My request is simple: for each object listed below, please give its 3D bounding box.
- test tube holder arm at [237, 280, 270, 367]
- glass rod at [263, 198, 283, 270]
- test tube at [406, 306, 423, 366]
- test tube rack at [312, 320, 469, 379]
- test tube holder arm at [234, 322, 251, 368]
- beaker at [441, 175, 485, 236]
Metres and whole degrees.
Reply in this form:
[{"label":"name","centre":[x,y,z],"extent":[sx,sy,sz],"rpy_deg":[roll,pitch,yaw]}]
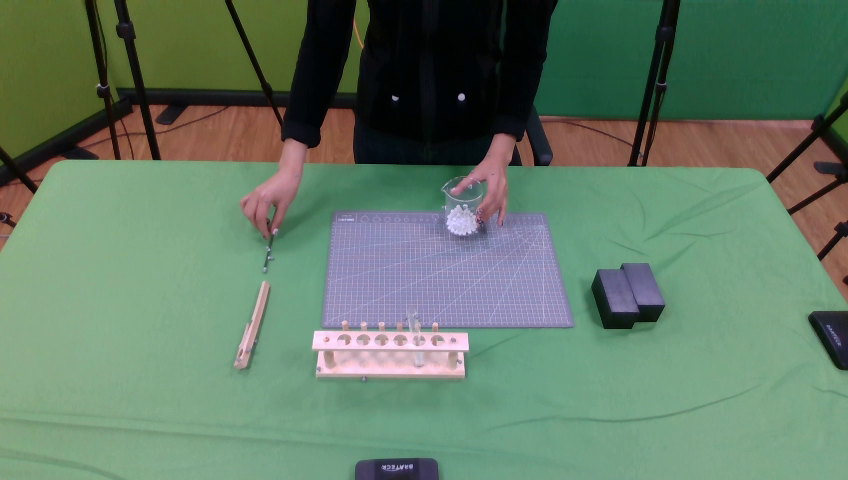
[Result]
[{"label":"test tube holder arm","centre":[-0.291,0.140,1.042],"extent":[0.013,0.015,0.177],"rpy_deg":[-17,41,22]},{"label":"glass rod","centre":[-0.298,-0.017,1.202],"extent":[0.008,0.008,0.198],"rpy_deg":[1,46,-2]},{"label":"test tube","centre":[-0.013,0.152,0.939],"extent":[0.017,0.151,0.017],"rpy_deg":[-3,48,3]},{"label":"test tube rack","centre":[-0.054,0.173,0.984],"extent":[0.242,0.085,0.066],"rpy_deg":[1,46,-3]},{"label":"test tube holder arm","centre":[-0.299,0.173,1.013],"extent":[0.010,0.015,0.087],"rpy_deg":[-17,42,22]},{"label":"beaker","centre":[0.074,-0.064,1.182],"extent":[0.084,0.101,0.073],"rpy_deg":[5,45,4]}]
